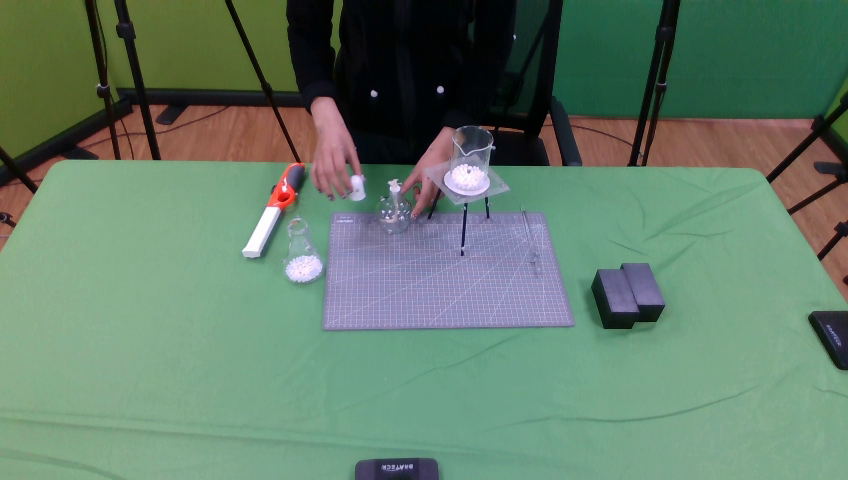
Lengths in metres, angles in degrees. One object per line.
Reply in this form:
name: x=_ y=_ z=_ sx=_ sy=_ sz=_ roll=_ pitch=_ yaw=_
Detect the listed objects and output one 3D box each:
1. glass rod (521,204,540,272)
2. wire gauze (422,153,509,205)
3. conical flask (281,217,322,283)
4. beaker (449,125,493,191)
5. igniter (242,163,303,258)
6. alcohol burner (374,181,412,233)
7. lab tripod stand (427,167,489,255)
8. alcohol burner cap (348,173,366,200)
glass rod: x=0.215 y=-0.008 z=1.230 sx=0.008 sy=0.008 sz=0.198 roll=0 pitch=43 yaw=-3
wire gauze: x=0.078 y=-0.115 z=1.144 sx=0.125 sy=0.011 sz=0.120 roll=-21 pitch=49 yaw=-20
conical flask: x=-0.225 y=0.016 z=1.097 sx=0.075 sy=0.122 sz=0.075 roll=3 pitch=46 yaw=-2
beaker: x=0.083 y=-0.146 z=1.108 sx=0.074 sy=0.101 sz=0.083 roll=15 pitch=47 yaw=11
igniter: x=-0.305 y=-0.069 z=1.239 sx=0.057 sy=0.025 sz=0.275 roll=2 pitch=45 yaw=12
alcohol burner: x=-0.061 y=-0.071 z=1.196 sx=0.078 sy=0.119 sz=0.077 roll=3 pitch=47 yaw=-3
lab tripod stand: x=0.076 y=-0.068 z=1.191 sx=0.148 sy=0.132 sz=0.147 roll=2 pitch=44 yaw=-2
alcohol burner cap: x=-0.128 y=-0.103 z=1.140 sx=0.034 sy=0.048 sz=0.033 roll=-2 pitch=41 yaw=2
